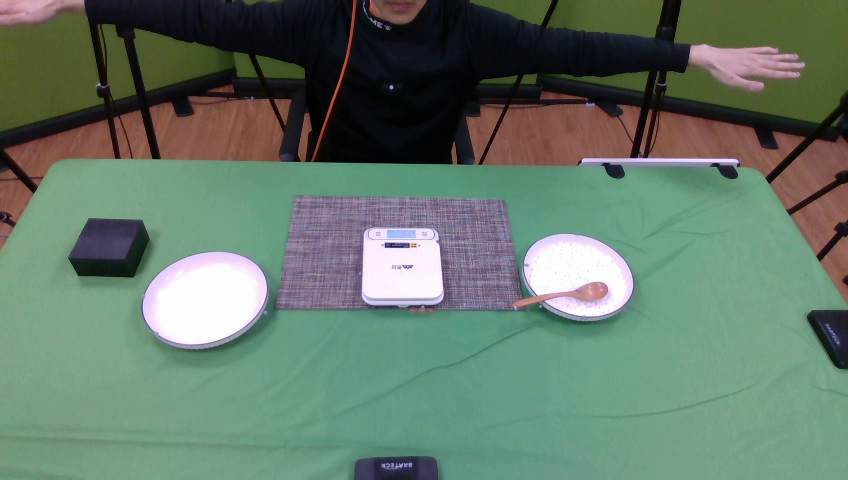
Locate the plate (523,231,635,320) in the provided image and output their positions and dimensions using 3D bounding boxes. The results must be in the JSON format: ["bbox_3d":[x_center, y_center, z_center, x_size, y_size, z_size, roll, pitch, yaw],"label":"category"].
[{"bbox_3d":[0.287,0.069,1.141,0.209,0.038,0.208,2,46,-2],"label":"plate"}]

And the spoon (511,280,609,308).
[{"bbox_3d":[0.245,0.098,1.088,0.194,0.022,0.041,-5,47,-19],"label":"spoon"}]

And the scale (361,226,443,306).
[{"bbox_3d":[-0.042,0.040,1.143,0.149,0.032,0.199,0,46,-4],"label":"scale"}]

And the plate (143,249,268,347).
[{"bbox_3d":[-0.377,0.103,1.060,0.208,0.039,0.206,2,47,-2],"label":"plate"}]
